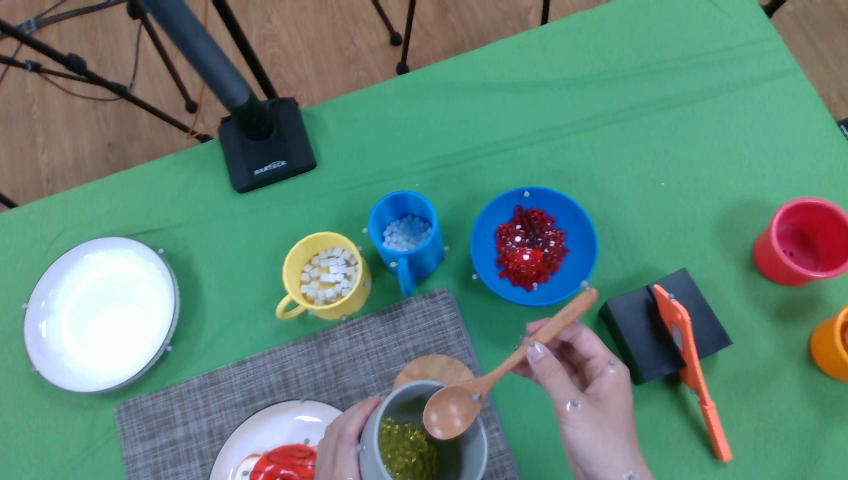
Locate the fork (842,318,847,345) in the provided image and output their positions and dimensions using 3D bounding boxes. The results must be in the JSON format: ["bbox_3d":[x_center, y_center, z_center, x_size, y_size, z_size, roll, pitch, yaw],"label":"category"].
[{"bbox_3d":[0.458,0.134,0.639,0.028,0.019,0.207,43,37,9],"label":"fork"}]

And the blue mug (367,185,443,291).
[{"bbox_3d":[-0.022,0.005,0.750,0.082,0.106,0.116,0,72,6],"label":"blue mug"}]

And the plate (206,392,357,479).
[{"bbox_3d":[-0.147,0.284,0.703,0.209,0.038,0.208,-2,72,5],"label":"plate"}]

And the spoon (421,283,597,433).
[{"bbox_3d":[0.068,0.100,0.500,0.194,0.022,0.041,-45,79,25],"label":"spoon"}]

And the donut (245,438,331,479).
[{"bbox_3d":[-0.151,0.273,0.677,0.099,0.048,0.098,-1,72,2],"label":"donut"}]

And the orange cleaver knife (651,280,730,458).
[{"bbox_3d":[0.299,0.145,0.686,0.012,0.077,0.212,-22,101,-1],"label":"orange cleaver knife"}]

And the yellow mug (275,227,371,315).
[{"bbox_3d":[-0.135,0.050,0.766,0.131,0.064,0.099,-40,73,-6],"label":"yellow mug"}]

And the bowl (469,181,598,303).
[{"bbox_3d":[0.132,0.011,0.747,0.151,0.077,0.150,-2,72,5],"label":"bowl"}]

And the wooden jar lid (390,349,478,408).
[{"bbox_3d":[0.012,0.187,0.729,0.108,0.021,0.107,-1,73,5],"label":"wooden jar lid"}]

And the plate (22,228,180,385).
[{"bbox_3d":[-0.418,0.087,0.796,0.207,0.039,0.206,-1,72,5],"label":"plate"}]

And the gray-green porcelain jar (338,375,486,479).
[{"bbox_3d":[-0.017,0.195,0.559,0.106,0.127,0.105,13,55,-19],"label":"gray-green porcelain jar"}]

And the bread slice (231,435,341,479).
[{"bbox_3d":[-0.160,0.288,0.707,0.131,0.019,0.104,-6,71,-1],"label":"bread slice"}]
